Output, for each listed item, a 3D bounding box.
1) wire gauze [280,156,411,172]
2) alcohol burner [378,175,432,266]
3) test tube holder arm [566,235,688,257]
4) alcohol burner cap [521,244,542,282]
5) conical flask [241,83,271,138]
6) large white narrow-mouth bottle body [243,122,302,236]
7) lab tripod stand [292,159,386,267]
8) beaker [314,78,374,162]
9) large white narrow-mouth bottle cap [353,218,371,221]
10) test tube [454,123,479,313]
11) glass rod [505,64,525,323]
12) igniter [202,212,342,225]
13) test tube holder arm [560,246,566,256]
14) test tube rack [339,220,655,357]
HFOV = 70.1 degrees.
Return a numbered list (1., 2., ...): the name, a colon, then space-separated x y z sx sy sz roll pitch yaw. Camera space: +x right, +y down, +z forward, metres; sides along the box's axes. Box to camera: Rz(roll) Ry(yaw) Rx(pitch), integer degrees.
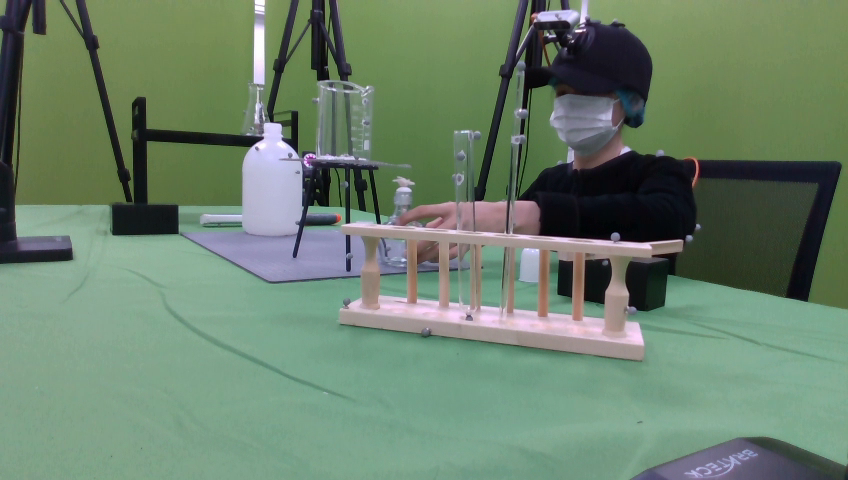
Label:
1. wire gauze: -0.103 -0.103 0.785 0.121 0.011 0.126 11 8 42
2. alcohol burner: -0.027 -0.027 0.800 0.078 0.119 0.078 -1 6 0
3. test tube holder arm: 0.215 0.006 0.629 0.179 0.015 0.013 -3 10 -30
4. alcohol burner cap: 0.136 0.025 0.740 0.034 0.048 0.034 1 6 0
5. conical flask: -0.384 -0.297 1.393 0.075 0.122 0.075 2 7 0
6. large white narrow-mouth bottle body: -0.264 -0.109 1.061 0.102 0.194 0.102 2 8 0
7. lab tripod stand: -0.105 -0.039 0.797 0.148 0.131 0.148 2 5 0
8. beaker: -0.101 -0.150 0.773 0.074 0.100 0.083 -2 8 -40
9. large white narrow-mouth bottle cap: -0.121 -0.029 1.184 0.038 0.024 0.037 2 8 0
10. test tube: 0.034 -0.016 0.477 0.017 0.150 0.017 -2 9 1
11. glass rod: 0.069 -0.030 0.458 0.008 0.199 0.008 0 15 0
12. igniter: -0.298 -0.043 1.216 0.278 0.025 0.057 -3 -2 -32
13. test tube holder arm: 0.173 0.007 0.611 0.088 0.015 0.010 -3 10 -30
14. test tube rack: 0.056 0.032 0.495 0.242 0.085 0.067 4 7 15
